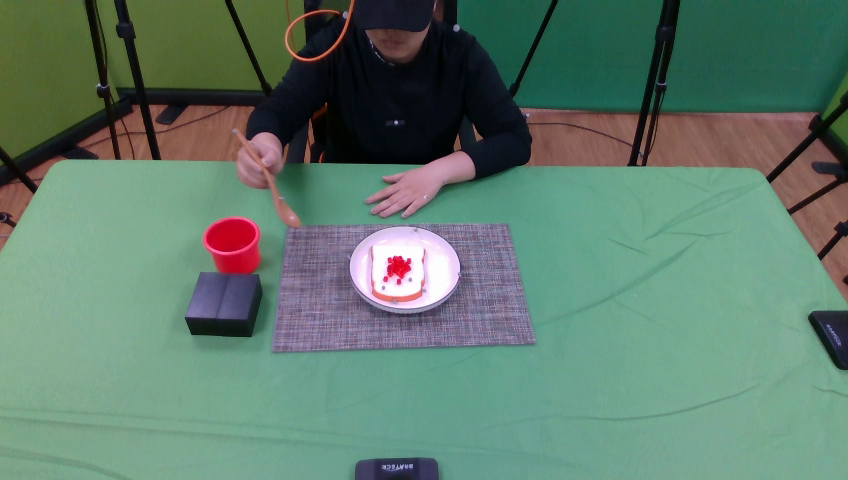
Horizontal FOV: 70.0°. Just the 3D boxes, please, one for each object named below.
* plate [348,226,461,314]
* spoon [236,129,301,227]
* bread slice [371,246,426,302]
[{"bbox_3d":[-0.035,0.058,1.123,0.209,0.038,0.208,2,46,-2],"label":"plate"},{"bbox_3d":[-0.267,-0.105,1.043,0.021,0.194,0.041,-18,20,20],"label":"spoon"},{"bbox_3d":[-0.047,0.060,1.123,0.105,0.019,0.130,0,45,-3],"label":"bread slice"}]
